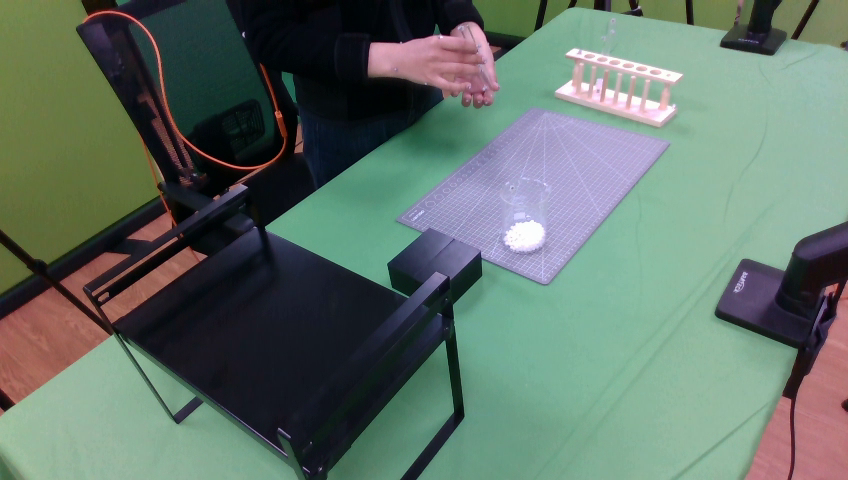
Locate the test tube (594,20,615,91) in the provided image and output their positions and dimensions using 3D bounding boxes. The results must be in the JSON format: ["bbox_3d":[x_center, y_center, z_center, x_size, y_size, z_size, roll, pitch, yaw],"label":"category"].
[{"bbox_3d":[0.367,-0.373,1.234,0.017,0.151,0.017,-1,43,1],"label":"test tube"}]

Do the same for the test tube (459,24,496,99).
[{"bbox_3d":[0.094,-0.303,1.040,0.017,0.151,0.017,-17,44,18],"label":"test tube"}]

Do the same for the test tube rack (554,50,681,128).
[{"bbox_3d":[0.388,-0.311,1.234,0.240,0.085,0.067,28,52,34],"label":"test tube rack"}]

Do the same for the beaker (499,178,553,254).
[{"bbox_3d":[0.158,-0.036,0.929,0.084,0.100,0.073,-16,41,-12],"label":"beaker"}]
